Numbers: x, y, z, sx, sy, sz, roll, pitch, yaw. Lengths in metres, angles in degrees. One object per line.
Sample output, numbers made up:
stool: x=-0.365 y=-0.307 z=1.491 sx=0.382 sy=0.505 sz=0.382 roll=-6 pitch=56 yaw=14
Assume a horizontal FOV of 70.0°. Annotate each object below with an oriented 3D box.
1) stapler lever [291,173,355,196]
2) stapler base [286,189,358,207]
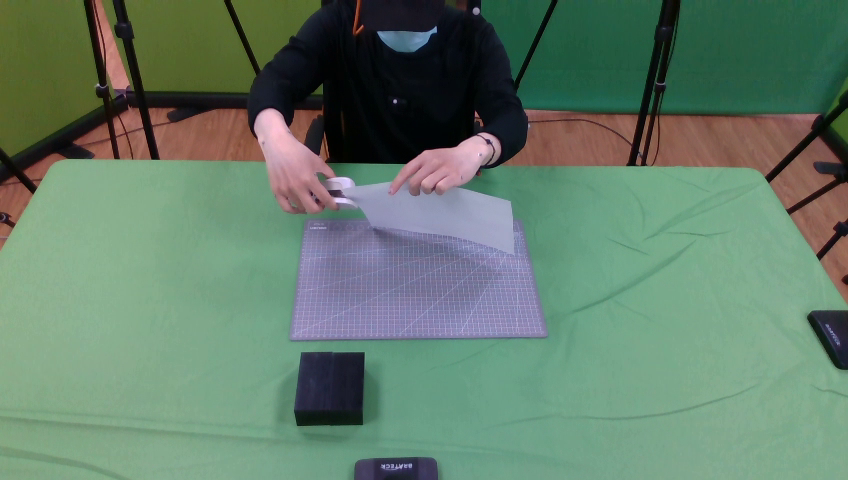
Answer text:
stapler lever: x=-0.179 y=-0.100 z=1.084 sx=0.118 sy=0.027 sz=0.040 roll=3 pitch=77 yaw=18
stapler base: x=-0.180 y=-0.076 z=1.080 sx=0.130 sy=0.041 sz=0.024 roll=2 pitch=76 yaw=18
